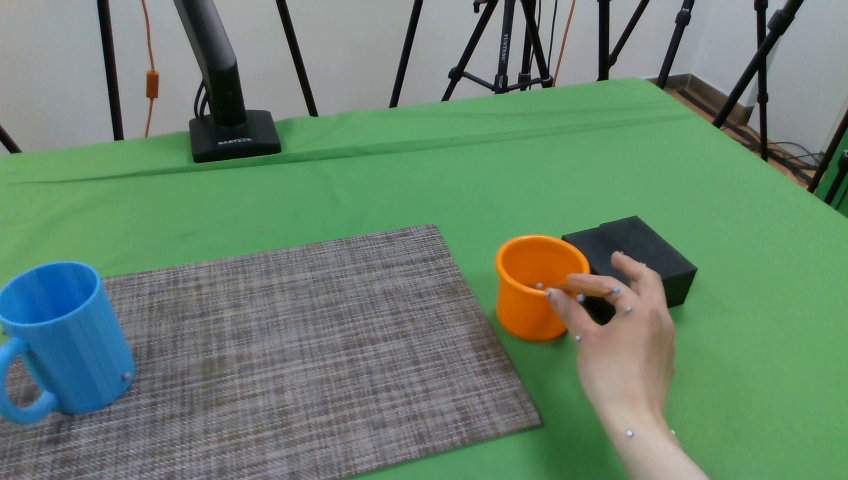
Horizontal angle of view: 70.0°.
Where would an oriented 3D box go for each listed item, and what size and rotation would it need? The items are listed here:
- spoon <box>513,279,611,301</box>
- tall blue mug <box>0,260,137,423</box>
[{"bbox_3d":[0.123,0.044,0.556,0.042,0.194,0.021,1,82,-8],"label":"spoon"},{"bbox_3d":[-0.295,0.091,0.500,0.078,0.109,0.106,-4,39,-9],"label":"tall blue mug"}]
